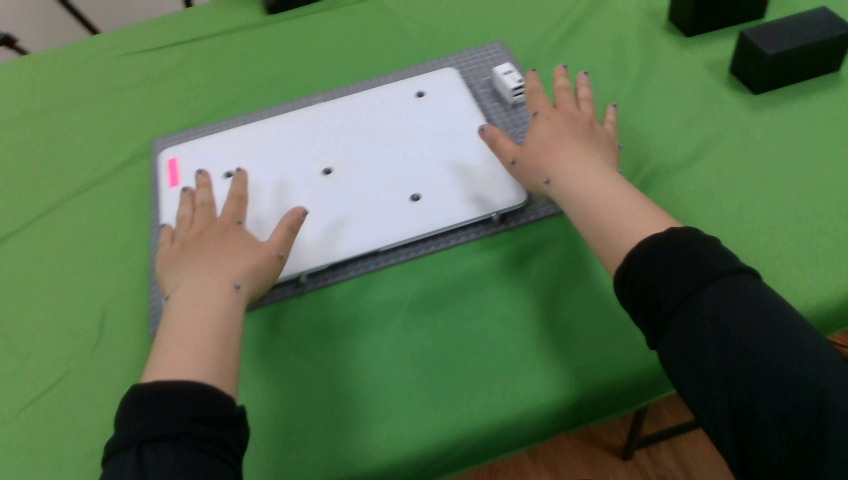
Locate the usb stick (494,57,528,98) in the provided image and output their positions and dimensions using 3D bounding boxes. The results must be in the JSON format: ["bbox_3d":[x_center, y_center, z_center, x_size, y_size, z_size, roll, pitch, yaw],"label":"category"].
[{"bbox_3d":[0.096,-0.189,0.691,0.021,0.027,0.058,-21,47,-7],"label":"usb stick"}]

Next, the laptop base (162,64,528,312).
[{"bbox_3d":[-0.096,-0.067,0.636,0.354,0.023,0.233,-18,53,-4],"label":"laptop base"}]

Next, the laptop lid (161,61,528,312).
[{"bbox_3d":[-0.098,-0.072,0.625,0.357,0.013,0.239,-17,52,-3],"label":"laptop lid"}]
